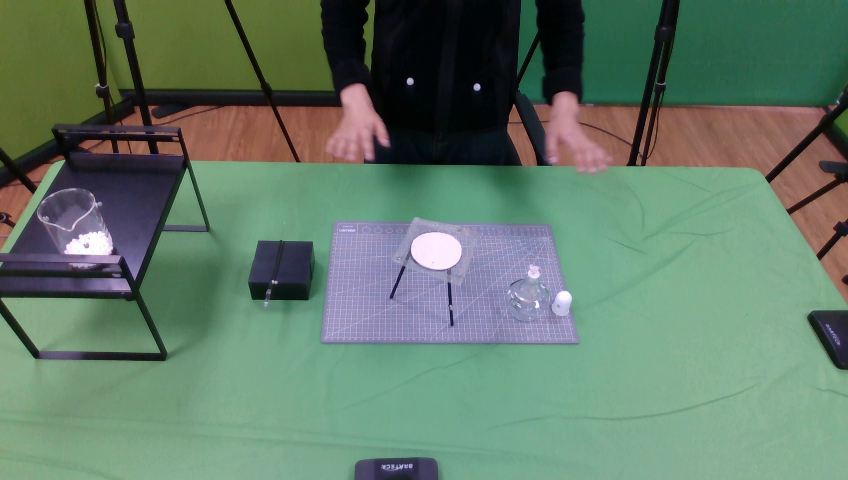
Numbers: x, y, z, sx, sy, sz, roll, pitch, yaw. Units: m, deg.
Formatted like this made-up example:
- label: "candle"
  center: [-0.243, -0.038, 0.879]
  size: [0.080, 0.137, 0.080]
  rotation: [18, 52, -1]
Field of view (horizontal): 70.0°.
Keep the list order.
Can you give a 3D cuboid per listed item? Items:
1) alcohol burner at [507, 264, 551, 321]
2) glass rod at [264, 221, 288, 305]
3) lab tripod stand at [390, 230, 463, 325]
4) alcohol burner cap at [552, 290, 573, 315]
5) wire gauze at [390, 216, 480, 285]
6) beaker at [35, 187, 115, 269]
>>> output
- label: "alcohol burner"
  center: [0.185, 0.086, 1.056]
  size: [0.078, 0.120, 0.077]
  rotation: [1, 46, -1]
- label: "glass rod"
  center: [-0.263, 0.037, 1.083]
  size: [0.008, 0.008, 0.198]
  rotation: [3, 46, -1]
- label: "lab tripod stand"
  center: [0.014, 0.060, 1.056]
  size: [0.148, 0.132, 0.147]
  rotation: [1, 48, -1]
- label: "alcohol burner cap"
  center: [0.250, 0.109, 1.088]
  size: [0.034, 0.048, 0.033]
  rotation: [4, 47, -4]
- label: "wire gauze"
  center: [0.020, 0.012, 1.009]
  size: [0.125, 0.011, 0.121]
  rotation: [16, 48, 12]
- label: "beaker"
  center: [-0.494, -0.012, 0.867]
  size: [0.074, 0.101, 0.083]
  rotation: [-17, 50, -18]
